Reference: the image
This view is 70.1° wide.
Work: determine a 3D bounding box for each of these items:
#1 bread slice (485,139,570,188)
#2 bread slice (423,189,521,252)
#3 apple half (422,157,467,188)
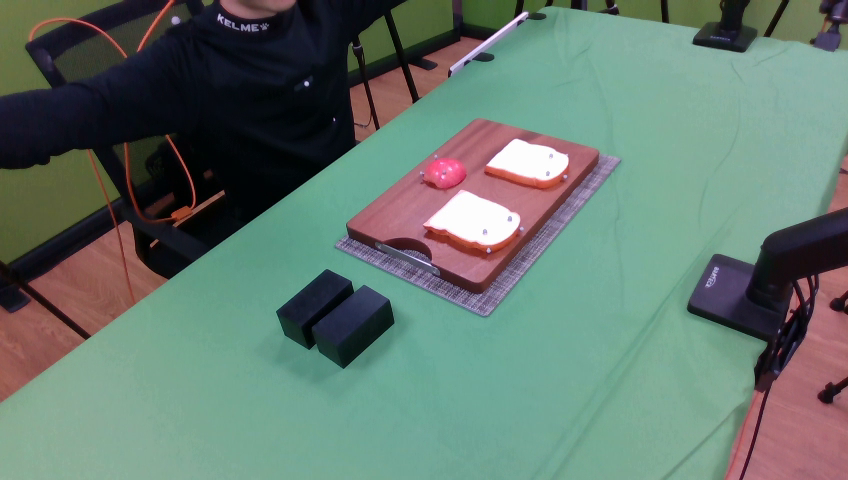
[{"bbox_3d":[0.189,-0.135,1.059,0.130,0.019,0.105,21,49,30],"label":"bread slice"},{"bbox_3d":[0.083,-0.029,0.949,0.133,0.018,0.107,22,48,28],"label":"bread slice"},{"bbox_3d":[0.035,-0.128,1.061,0.081,0.033,0.081,-6,42,6],"label":"apple half"}]
